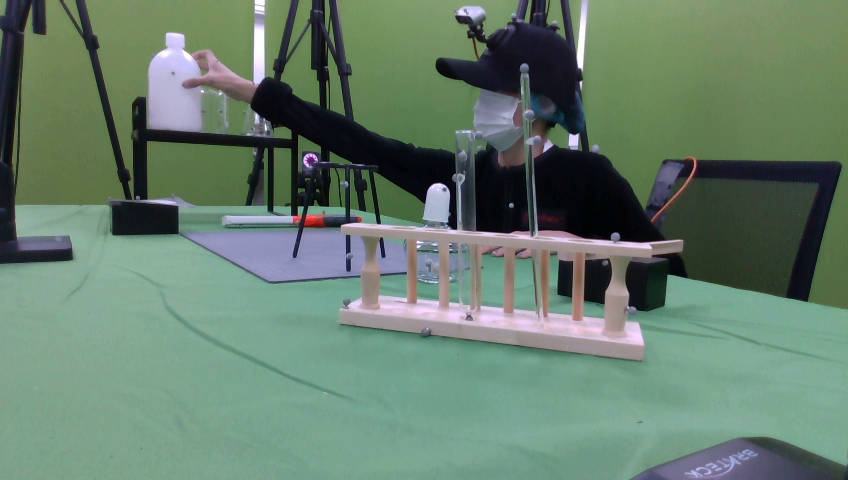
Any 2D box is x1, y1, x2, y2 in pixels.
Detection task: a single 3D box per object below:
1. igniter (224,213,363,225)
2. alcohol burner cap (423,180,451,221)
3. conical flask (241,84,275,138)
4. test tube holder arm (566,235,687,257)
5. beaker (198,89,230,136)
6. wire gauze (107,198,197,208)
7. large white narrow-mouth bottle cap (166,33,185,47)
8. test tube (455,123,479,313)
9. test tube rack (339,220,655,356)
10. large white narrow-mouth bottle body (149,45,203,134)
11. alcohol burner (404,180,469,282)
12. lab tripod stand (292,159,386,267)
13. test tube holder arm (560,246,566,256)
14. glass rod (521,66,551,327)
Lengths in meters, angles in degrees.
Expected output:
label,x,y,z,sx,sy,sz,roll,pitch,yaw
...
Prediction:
label,x,y,z,sx,sy,sz,roll,pitch,yaw
igniter,-0.255,-0.041,1.210,0.278,0.025,0.057,-2,-2,-31
alcohol burner cap,0.017,-0.047,0.711,0.034,0.048,0.034,8,5,0
conical flask,-0.382,-0.296,1.392,0.075,0.122,0.075,2,8,0
test tube holder arm,0.215,0.006,0.630,0.179,0.015,0.013,-3,9,-30
beaker,-0.472,-0.283,1.353,0.074,0.100,0.083,-4,10,-35
wire gauze,-0.462,-0.064,1.023,0.126,0.011,0.121,-2,7,-32
large white narrow-mouth bottle cap,-0.504,-0.403,1.224,0.038,0.024,0.037,2,7,0
test tube,0.034,-0.016,0.476,0.017,0.150,0.017,-2,10,1
test tube rack,0.056,0.032,0.495,0.242,0.085,0.067,4,7,15
large white narrow-mouth bottle body,-0.507,-0.318,1.236,0.102,0.194,0.102,2,8,0
alcohol burner,0.015,-0.011,0.715,0.078,0.119,0.078,0,7,0
lab tripod stand,-0.105,-0.039,0.798,0.148,0.131,0.148,2,5,0
test tube holder arm,0.173,0.007,0.611,0.088,0.015,0.010,-3,9,-30
glass rod,0.085,-0.028,0.454,0.008,0.199,0.008,-7,10,1
